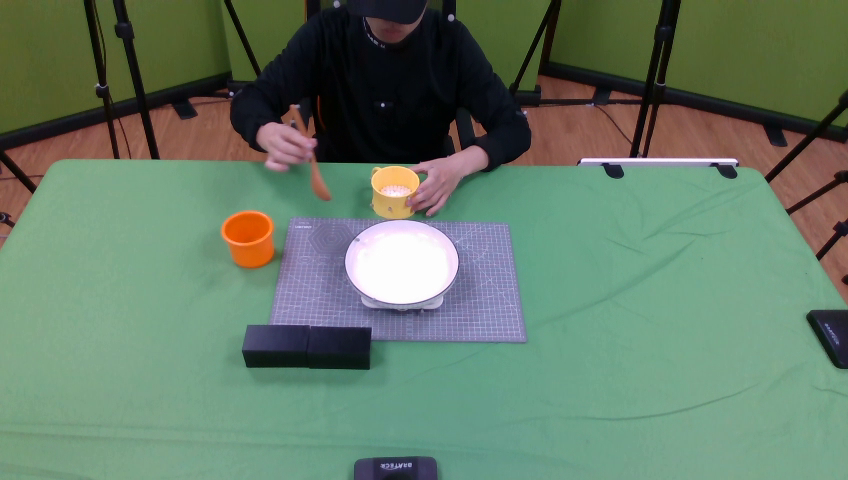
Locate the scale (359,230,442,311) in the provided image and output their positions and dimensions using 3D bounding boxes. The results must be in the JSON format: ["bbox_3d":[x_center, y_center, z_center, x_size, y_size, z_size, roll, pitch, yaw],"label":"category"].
[{"bbox_3d":[-0.042,0.047,1.138,0.149,0.032,0.199,2,46,-3],"label":"scale"}]

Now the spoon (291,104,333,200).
[{"bbox_3d":[-0.202,-0.152,1.081,0.041,0.194,0.021,14,39,37],"label":"spoon"}]

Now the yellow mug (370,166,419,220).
[{"bbox_3d":[-0.072,-0.108,1.267,0.100,0.064,0.130,-29,53,-29],"label":"yellow mug"}]

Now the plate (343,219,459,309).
[{"bbox_3d":[-0.041,0.046,1.094,0.209,0.038,0.208,2,46,-2],"label":"plate"}]
